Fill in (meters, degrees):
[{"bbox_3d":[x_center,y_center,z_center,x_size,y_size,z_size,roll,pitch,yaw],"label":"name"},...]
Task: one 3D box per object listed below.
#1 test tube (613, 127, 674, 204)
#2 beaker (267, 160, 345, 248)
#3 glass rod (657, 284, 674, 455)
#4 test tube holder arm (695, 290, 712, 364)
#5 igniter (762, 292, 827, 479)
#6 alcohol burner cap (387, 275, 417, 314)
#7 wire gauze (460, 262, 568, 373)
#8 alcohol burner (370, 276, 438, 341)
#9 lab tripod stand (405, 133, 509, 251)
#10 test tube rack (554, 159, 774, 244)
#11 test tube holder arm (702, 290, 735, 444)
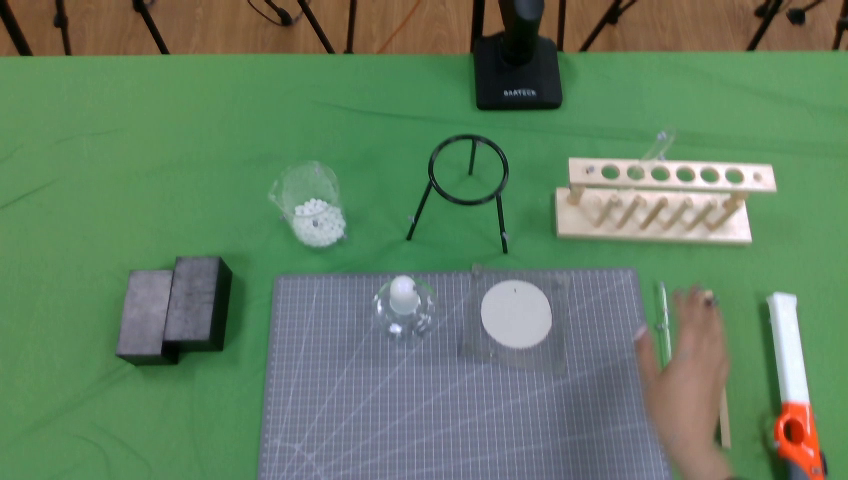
[{"bbox_3d":[0.254,-0.083,0.713,0.017,0.151,0.017,2,64,-4],"label":"test tube"},{"bbox_3d":[-0.138,-0.039,0.734,0.084,0.101,0.073,-9,66,-4],"label":"beaker"},{"bbox_3d":[0.282,0.147,0.708,0.008,0.008,0.198,4,69,1],"label":"glass rod"},{"bbox_3d":[0.336,0.104,0.725,0.010,0.015,0.087,-14,62,33],"label":"test tube holder arm"},{"bbox_3d":[0.415,0.191,0.681,0.057,0.025,0.274,9,66,-8],"label":"igniter"},{"bbox_3d":[-0.023,0.055,0.645,0.034,0.048,0.033,1,60,-1],"label":"alcohol burner cap"},{"bbox_3d":[0.110,0.090,0.729,0.125,0.011,0.120,10,68,2],"label":"wire gauze"},{"bbox_3d":[-0.023,0.071,0.677,0.078,0.120,0.077,-1,66,2],"label":"alcohol burner"},{"bbox_3d":[0.045,-0.052,0.724,0.148,0.132,0.147,0,68,0],"label":"lab tripod stand"},{"bbox_3d":[0.291,-0.046,0.751,0.242,0.086,0.066,2,66,0],"label":"test tube rack"},{"bbox_3d":[0.340,0.144,0.704,0.013,0.015,0.177,-16,62,32],"label":"test tube holder arm"}]
